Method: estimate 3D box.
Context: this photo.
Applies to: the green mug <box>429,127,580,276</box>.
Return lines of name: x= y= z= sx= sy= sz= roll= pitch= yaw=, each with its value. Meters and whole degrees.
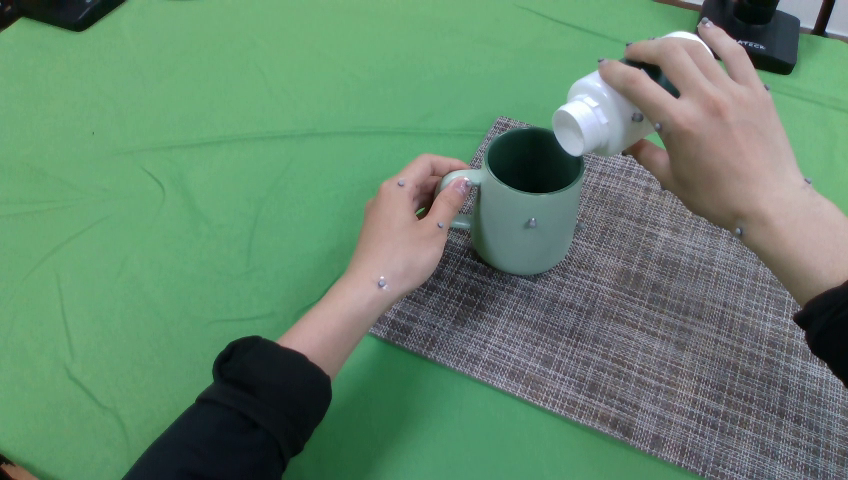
green mug: x=0.067 y=-0.030 z=0.515 sx=0.125 sy=0.106 sz=0.091 roll=-1 pitch=52 yaw=-1

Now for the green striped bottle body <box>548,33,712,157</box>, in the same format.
green striped bottle body: x=0.154 y=-0.107 z=0.464 sx=0.119 sy=0.064 sz=0.062 roll=-29 pitch=57 yaw=-14
